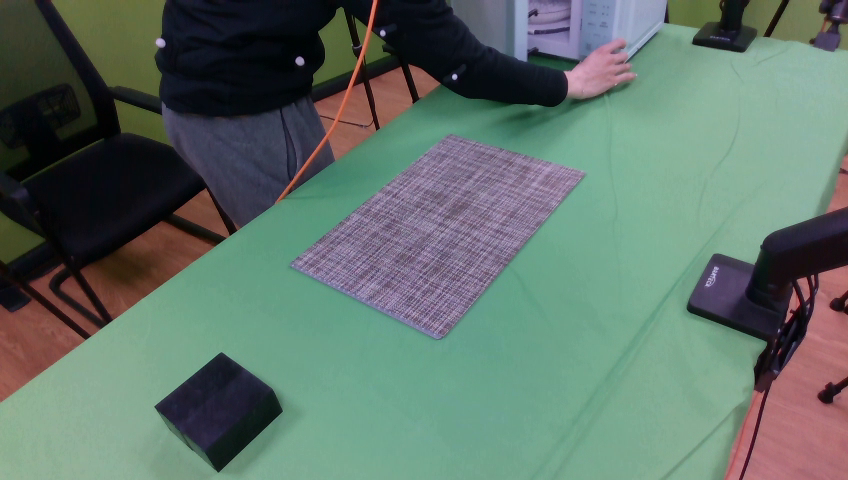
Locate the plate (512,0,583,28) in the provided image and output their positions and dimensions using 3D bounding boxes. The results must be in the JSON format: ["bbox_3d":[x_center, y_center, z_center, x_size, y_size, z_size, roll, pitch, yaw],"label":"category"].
[{"bbox_3d":[0.286,-0.571,1.488,0.209,0.038,0.208,-5,43,5],"label":"plate"}]

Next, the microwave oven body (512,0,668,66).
[{"bbox_3d":[0.325,-0.609,1.437,0.438,0.261,0.327,23,50,30],"label":"microwave oven body"}]

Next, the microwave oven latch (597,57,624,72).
[{"bbox_3d":[0.408,-0.397,1.329,0.030,0.029,0.078,-11,41,-2],"label":"microwave oven latch"}]

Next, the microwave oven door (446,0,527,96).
[{"bbox_3d":[0.129,-0.502,1.334,0.039,0.245,0.353,-18,42,-12],"label":"microwave oven door"}]
